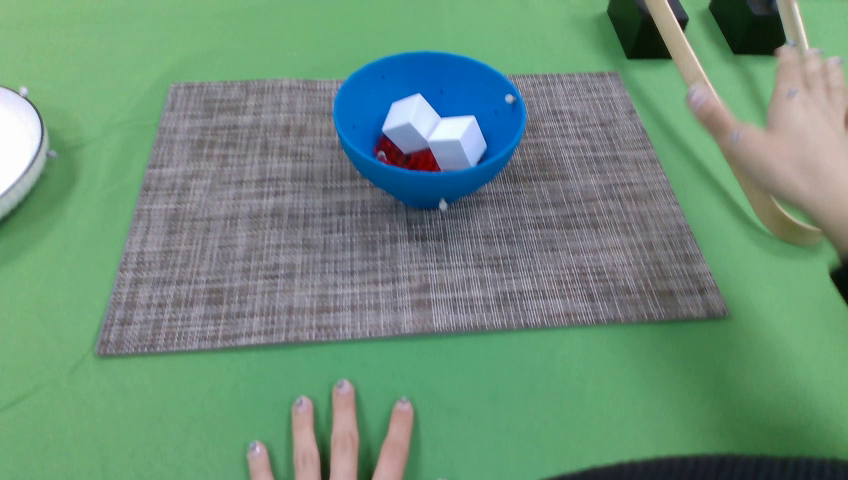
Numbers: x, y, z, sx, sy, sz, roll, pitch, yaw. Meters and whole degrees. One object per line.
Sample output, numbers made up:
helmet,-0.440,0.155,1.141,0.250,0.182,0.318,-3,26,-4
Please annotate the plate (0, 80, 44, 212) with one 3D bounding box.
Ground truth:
plate,-0.415,-0.056,0.484,0.209,0.038,0.207,2,52,-2

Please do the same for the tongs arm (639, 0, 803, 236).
tongs arm,0.249,-0.174,0.573,0.028,0.028,0.384,-7,64,-12

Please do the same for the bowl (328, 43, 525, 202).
bowl,0.000,-0.084,0.495,0.151,0.077,0.150,1,51,-1

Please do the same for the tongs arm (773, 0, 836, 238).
tongs arm,0.337,-0.176,0.578,0.051,0.027,0.381,5,63,-2
